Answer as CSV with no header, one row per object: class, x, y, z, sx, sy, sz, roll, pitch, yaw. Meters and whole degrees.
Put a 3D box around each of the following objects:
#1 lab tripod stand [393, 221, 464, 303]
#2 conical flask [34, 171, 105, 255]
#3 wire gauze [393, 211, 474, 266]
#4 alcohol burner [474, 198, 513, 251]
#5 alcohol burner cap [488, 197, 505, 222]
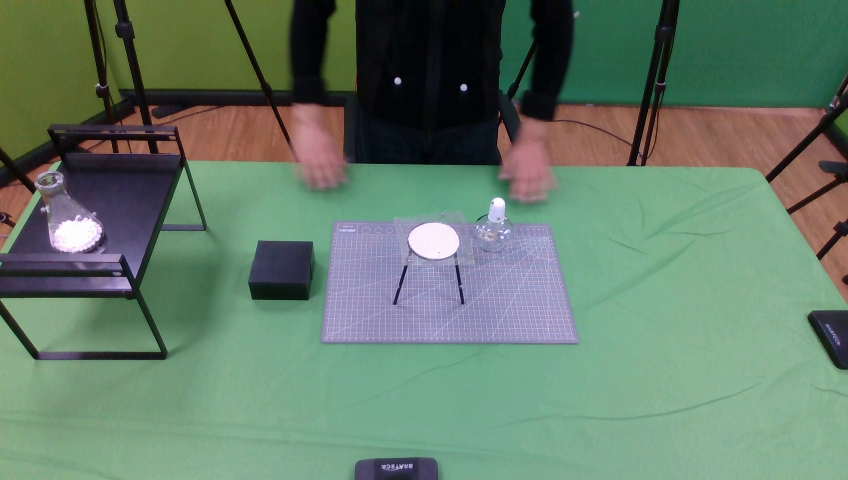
lab tripod stand,0.009,0.045,1.075,0.148,0.132,0.147,2,48,-2
conical flask,-0.522,-0.043,0.879,0.075,0.122,0.075,2,46,-2
wire gauze,0.015,-0.003,1.028,0.125,0.011,0.120,-4,47,-7
alcohol burner,0.137,-0.035,1.175,0.078,0.120,0.077,1,47,-1
alcohol burner cap,0.139,-0.060,1.149,0.034,0.048,0.033,1,43,0
